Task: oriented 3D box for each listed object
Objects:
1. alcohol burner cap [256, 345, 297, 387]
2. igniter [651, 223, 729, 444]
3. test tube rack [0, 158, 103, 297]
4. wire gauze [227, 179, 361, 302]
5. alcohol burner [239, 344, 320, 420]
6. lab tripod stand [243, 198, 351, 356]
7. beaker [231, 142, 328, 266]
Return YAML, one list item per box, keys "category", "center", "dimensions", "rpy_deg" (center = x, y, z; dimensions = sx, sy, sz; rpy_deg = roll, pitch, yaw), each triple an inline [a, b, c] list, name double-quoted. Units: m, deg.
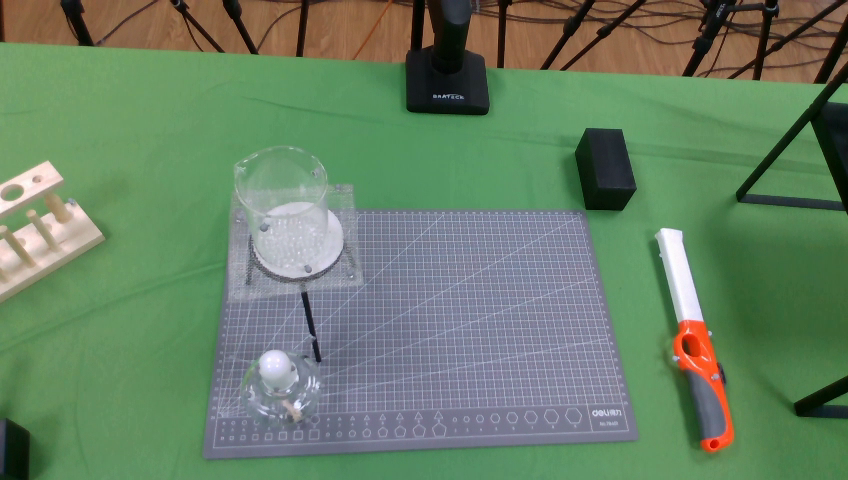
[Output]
- category: "alcohol burner cap"
  center: [-0.137, 0.114, 0.557]
  dimensions: [0.034, 0.048, 0.033]
  rpy_deg: [1, 64, -1]
- category: "igniter"
  center: [0.310, 0.100, 0.713]
  dimensions: [0.057, 0.025, 0.274]
  rpy_deg: [8, 58, -14]
- category: "test tube rack"
  center: [-0.481, 0.020, 0.635]
  dimensions: [0.242, 0.086, 0.066]
  rpy_deg: [-38, 70, -25]
- category: "wire gauze"
  center: [-0.127, -0.005, 0.584]
  dimensions: [0.122, 0.011, 0.124]
  rpy_deg: [-5, 64, -8]
- category: "alcohol burner"
  center: [-0.141, 0.132, 0.588]
  dimensions: [0.078, 0.120, 0.077]
  rpy_deg: [4, 57, -6]
- category: "lab tripod stand"
  center: [-0.130, 0.032, 0.637]
  dimensions: [0.148, 0.132, 0.147]
  rpy_deg: [4, 59, -6]
- category: "beaker"
  center: [-0.126, -0.028, 0.540]
  dimensions: [0.084, 0.101, 0.073]
  rpy_deg: [22, 59, 6]
